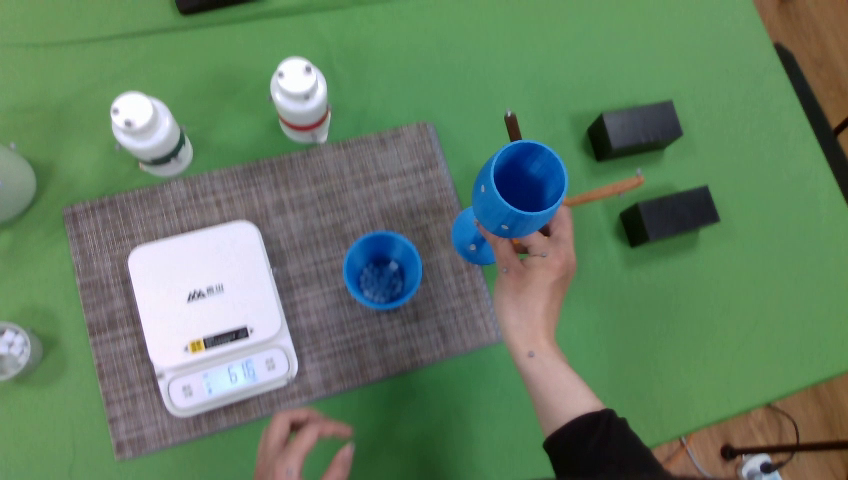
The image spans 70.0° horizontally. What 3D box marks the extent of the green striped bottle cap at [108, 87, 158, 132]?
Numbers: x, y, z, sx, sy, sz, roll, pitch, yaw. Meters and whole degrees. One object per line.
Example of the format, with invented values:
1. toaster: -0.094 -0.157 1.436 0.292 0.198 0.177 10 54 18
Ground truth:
1. green striped bottle cap: -0.302 -0.135 0.629 0.044 0.020 0.044 1 78 -5

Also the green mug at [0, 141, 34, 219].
1. green mug: -0.498 -0.059 0.653 0.092 0.105 0.125 19 76 -3

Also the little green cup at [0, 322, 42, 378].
1. little green cup: -0.450 0.119 0.655 0.062 0.039 0.061 2 78 -8

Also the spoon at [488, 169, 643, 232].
1. spoon: 0.161 -0.048 0.712 0.022 0.193 0.041 -14 88 -54

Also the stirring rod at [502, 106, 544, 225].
1. stirring rod: 0.118 -0.082 0.712 0.014 0.178 0.006 -5 43 21

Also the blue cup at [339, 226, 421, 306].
1. blue cup: -0.050 0.037 0.688 0.093 0.100 0.092 1 78 -5

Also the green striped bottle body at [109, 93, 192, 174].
1. green striped bottle body: -0.308 -0.122 0.683 0.063 0.119 0.063 2 77 -7

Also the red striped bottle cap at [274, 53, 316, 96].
1. red striped bottle cap: -0.141 -0.181 0.661 0.044 0.018 0.044 2 75 -5

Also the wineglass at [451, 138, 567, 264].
1. wineglass: 0.069 -0.027 0.544 0.074 0.172 0.073 2 75 -7

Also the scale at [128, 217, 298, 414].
1. scale: -0.240 0.082 0.690 0.149 0.031 0.200 -17 81 -10

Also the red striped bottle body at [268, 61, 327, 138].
1. red striped bottle body: -0.147 -0.170 0.713 0.063 0.120 0.062 2 77 -7
